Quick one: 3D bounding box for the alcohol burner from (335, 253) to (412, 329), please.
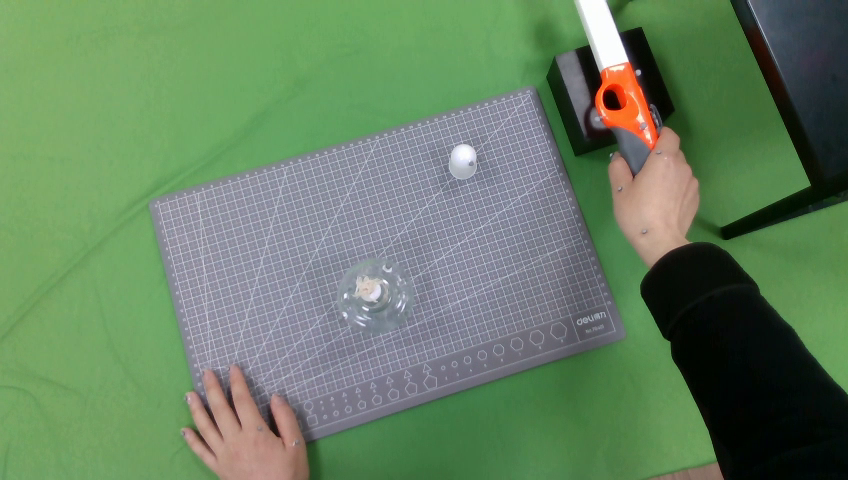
[{"bbox_3d":[-0.052,0.049,0.596,0.078,0.119,0.077,0,81,1],"label":"alcohol burner"}]

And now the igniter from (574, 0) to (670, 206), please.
[{"bbox_3d":[0.196,-0.168,0.619,0.057,0.025,0.275,-15,80,-3],"label":"igniter"}]

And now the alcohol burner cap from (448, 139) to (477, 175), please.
[{"bbox_3d":[0.042,-0.092,0.655,0.034,0.048,0.033,0,81,1],"label":"alcohol burner cap"}]
